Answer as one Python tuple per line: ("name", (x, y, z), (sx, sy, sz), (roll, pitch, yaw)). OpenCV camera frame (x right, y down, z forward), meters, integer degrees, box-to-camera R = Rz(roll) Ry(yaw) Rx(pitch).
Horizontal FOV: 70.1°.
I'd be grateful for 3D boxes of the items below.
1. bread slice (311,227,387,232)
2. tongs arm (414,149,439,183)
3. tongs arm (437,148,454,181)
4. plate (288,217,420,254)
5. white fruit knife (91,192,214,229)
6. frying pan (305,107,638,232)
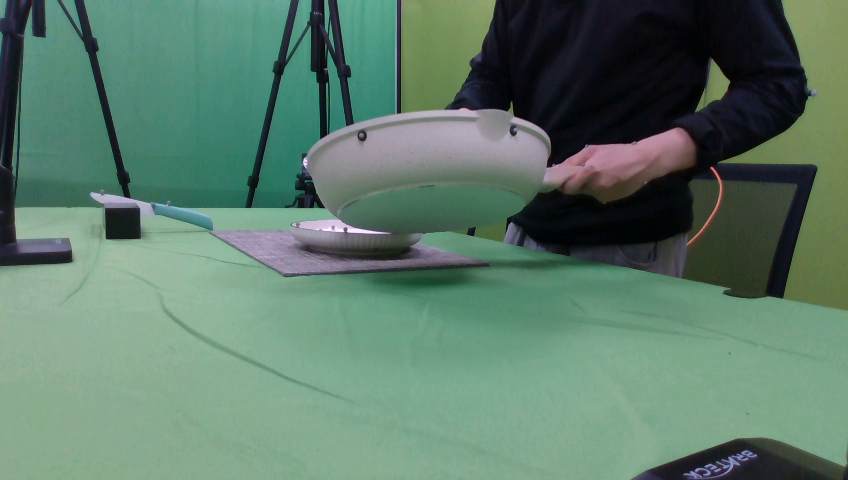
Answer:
("bread slice", (-0.115, -0.005, 0.950), (0.134, 0.018, 0.107), (4, 6, -7))
("tongs arm", (0.009, -0.107, 0.835), (0.051, 0.026, 0.384), (-7, 10, -2))
("tongs arm", (0.026, -0.109, 0.834), (0.028, 0.028, 0.387), (-9, 10, 5))
("plate", (-0.109, -0.008, 0.956), (0.208, 0.039, 0.207), (2, 8, 0))
("white fruit knife", (-0.478, -0.055, 1.077), (0.208, 0.027, 0.016), (14, -1, -30))
("frying pan", (0.098, -0.081, 0.772), (0.490, 0.102, 0.305), (-8, -8, -28))
